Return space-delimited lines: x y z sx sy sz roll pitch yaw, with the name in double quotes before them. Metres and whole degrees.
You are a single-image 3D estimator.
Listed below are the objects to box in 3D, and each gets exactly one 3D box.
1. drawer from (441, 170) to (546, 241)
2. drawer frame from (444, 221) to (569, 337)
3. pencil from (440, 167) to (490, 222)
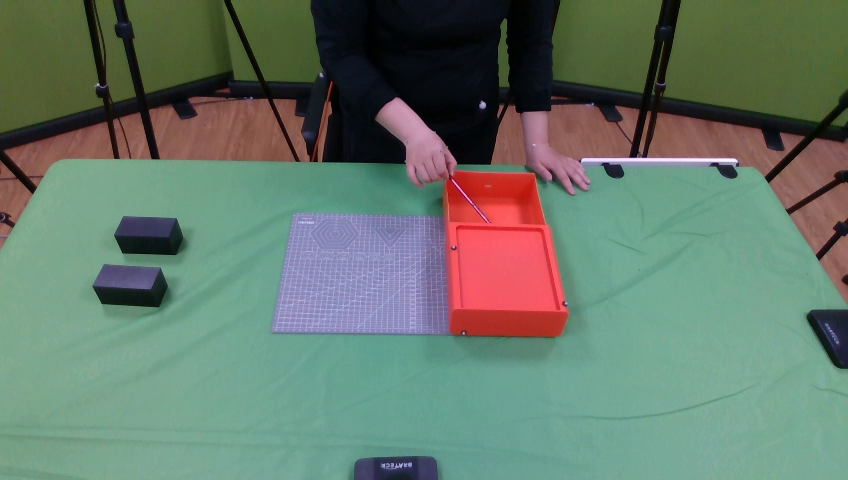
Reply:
"drawer" 0.137 -0.048 1.214 0.195 0.073 0.210 2 44 -4
"drawer frame" 0.141 0.067 1.097 0.202 0.083 0.212 2 46 -4
"pencil" 0.091 -0.075 1.190 0.012 0.012 0.193 -30 72 -29
